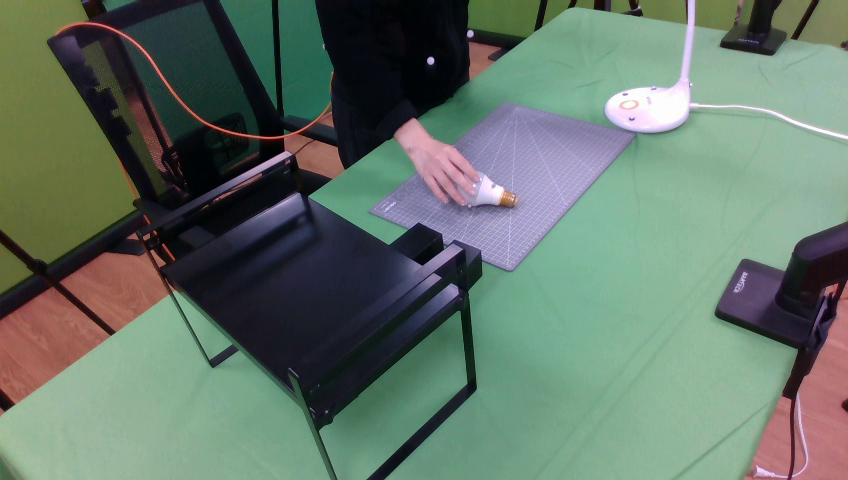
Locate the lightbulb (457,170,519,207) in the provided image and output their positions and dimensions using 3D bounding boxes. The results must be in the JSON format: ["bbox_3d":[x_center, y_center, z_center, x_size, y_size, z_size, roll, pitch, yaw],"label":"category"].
[{"bbox_3d":[0.109,-0.082,1.029,0.107,0.059,0.059,18,45,6],"label":"lightbulb"}]

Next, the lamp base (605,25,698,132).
[{"bbox_3d":[0.448,-0.321,1.161,0.179,0.181,0.159,-6,41,-2],"label":"lamp base"}]
